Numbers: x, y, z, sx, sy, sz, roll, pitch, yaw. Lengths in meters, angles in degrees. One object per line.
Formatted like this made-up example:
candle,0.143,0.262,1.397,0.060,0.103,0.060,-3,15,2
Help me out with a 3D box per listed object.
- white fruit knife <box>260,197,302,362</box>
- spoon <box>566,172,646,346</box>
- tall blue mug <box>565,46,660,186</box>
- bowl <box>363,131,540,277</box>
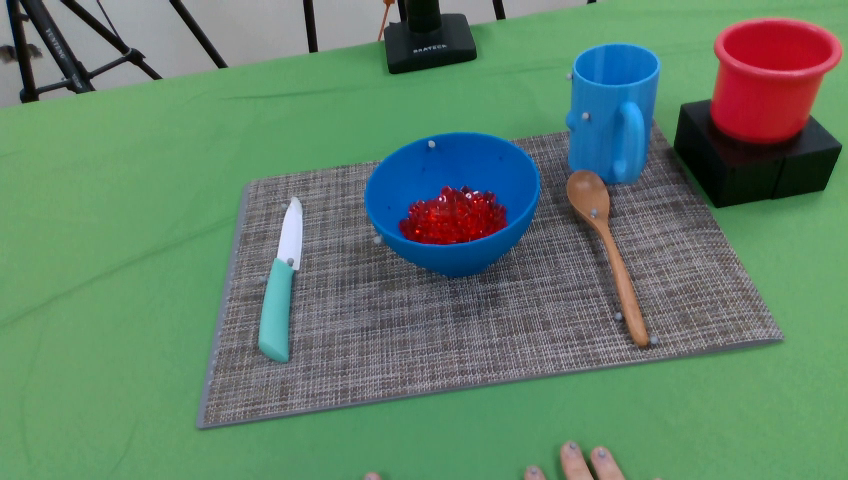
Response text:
white fruit knife,-0.131,0.026,0.567,0.027,0.016,0.205,14,40,-17
spoon,0.159,0.008,0.524,0.042,0.022,0.191,5,44,-9
tall blue mug,0.187,-0.110,0.575,0.078,0.109,0.106,-28,47,-18
bowl,0.027,-0.020,0.537,0.151,0.077,0.150,-5,45,6
